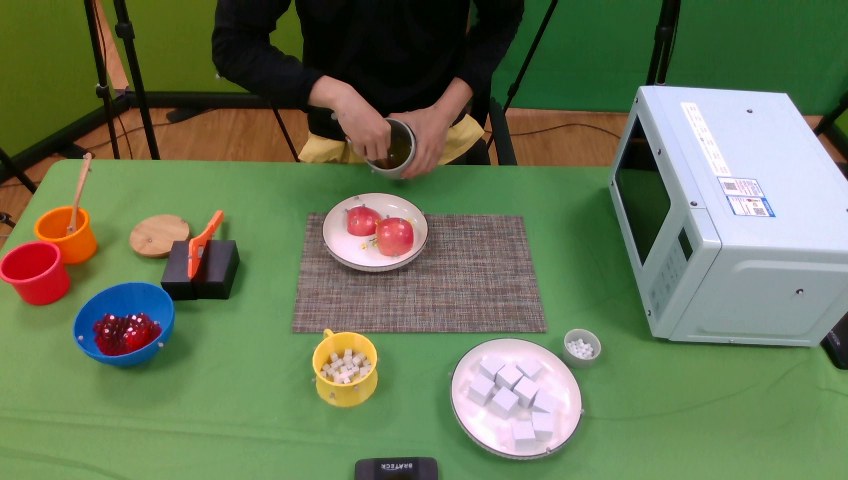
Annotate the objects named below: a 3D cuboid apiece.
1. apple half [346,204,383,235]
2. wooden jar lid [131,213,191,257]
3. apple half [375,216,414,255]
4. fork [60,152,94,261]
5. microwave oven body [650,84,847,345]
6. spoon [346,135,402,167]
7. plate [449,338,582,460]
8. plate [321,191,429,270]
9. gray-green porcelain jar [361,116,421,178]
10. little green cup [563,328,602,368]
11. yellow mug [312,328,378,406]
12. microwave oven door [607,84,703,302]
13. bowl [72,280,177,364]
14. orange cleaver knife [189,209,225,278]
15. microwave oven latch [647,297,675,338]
[{"bbox_3d":[-0.119,-0.049,1.207,0.081,0.033,0.081,2,50,-2],"label":"apple half"},{"bbox_3d":[-0.504,-0.008,1.167,0.108,0.021,0.107,3,46,-3],"label":"wooden jar lid"},{"bbox_3d":[-0.056,-0.017,1.169,0.075,0.053,0.080,0,45,-7],"label":"apple half"},{"bbox_3d":[-0.638,-0.063,1.119,0.028,0.018,0.207,12,90,8],"label":"fork"},{"bbox_3d":[0.569,-0.054,1.116,0.326,0.261,0.439,2,46,-1],"label":"microwave oven body"},{"bbox_3d":[-0.093,-0.172,1.162,0.021,0.194,0.041,-26,71,17],"label":"spoon"},{"bbox_3d":[0.141,0.251,0.956,0.208,0.039,0.206,2,46,-2],"label":"plate"},{"bbox_3d":[-0.094,-0.015,1.185,0.209,0.038,0.208,2,46,-2],"label":"plate"},{"bbox_3d":[-0.063,-0.183,1.217,0.106,0.126,0.105,0,87,7],"label":"gray-green porcelain jar"},{"bbox_3d":[0.265,0.184,1.025,0.061,0.039,0.061,1,46,-1],"label":"little green cup"},{"bbox_3d":[-0.132,0.193,0.971,0.100,0.064,0.130,-22,51,-22],"label":"yellow mug"},{"bbox_3d":[0.424,-0.096,1.138,0.039,0.245,0.353,3,46,-1],"label":"microwave oven door"},{"bbox_3d":[-0.473,0.147,0.982,0.151,0.077,0.150,2,46,-2],"label":"bowl"},{"bbox_3d":[-0.401,0.002,1.122,0.012,0.077,0.210,3,22,-4],"label":"orange cleaver knife"},{"bbox_3d":[0.413,0.133,1.060,0.030,0.029,0.078,5,46,2],"label":"microwave oven latch"}]
